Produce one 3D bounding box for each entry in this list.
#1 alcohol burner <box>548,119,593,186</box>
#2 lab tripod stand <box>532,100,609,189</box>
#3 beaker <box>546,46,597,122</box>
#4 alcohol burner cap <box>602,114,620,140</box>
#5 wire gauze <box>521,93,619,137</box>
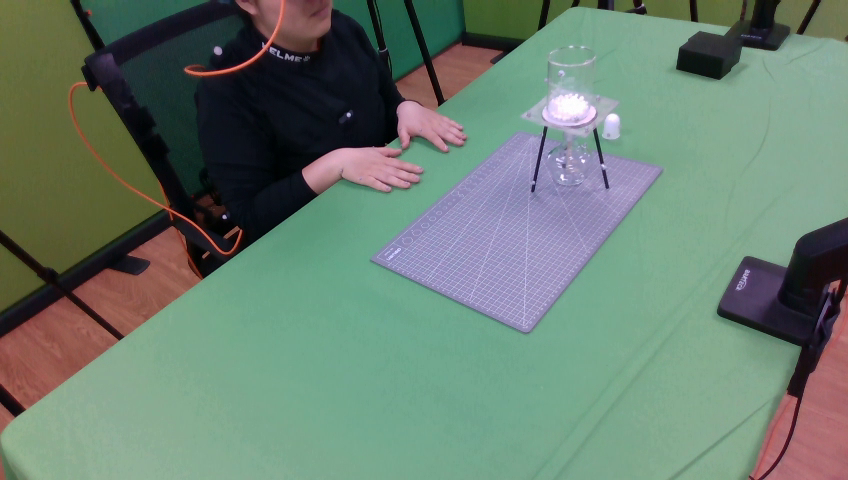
[{"bbox_3d":[0.252,-0.154,1.042,0.078,0.120,0.077,-7,40,7],"label":"alcohol burner"},{"bbox_3d":[0.251,-0.161,1.034,0.148,0.132,0.147,-4,39,4],"label":"lab tripod stand"},{"bbox_3d":[0.229,-0.246,0.962,0.083,0.101,0.074,25,49,34],"label":"beaker"},{"bbox_3d":[0.359,-0.217,1.157,0.034,0.048,0.033,-7,40,6],"label":"alcohol burner cap"},{"bbox_3d":[0.240,-0.212,0.995,0.124,0.011,0.122,22,46,34],"label":"wire gauze"}]
